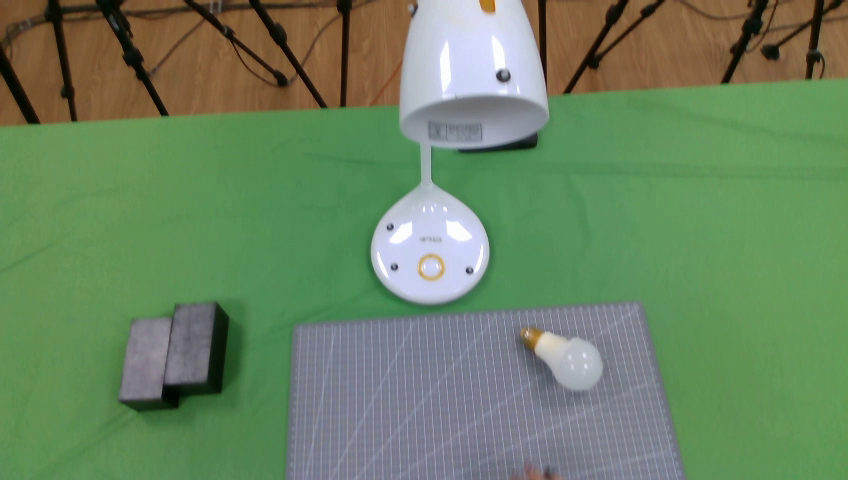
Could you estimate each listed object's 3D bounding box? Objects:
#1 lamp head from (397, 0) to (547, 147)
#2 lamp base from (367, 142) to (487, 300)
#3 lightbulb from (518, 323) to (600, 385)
[{"bbox_3d":[0.032,-0.140,0.461,0.112,0.113,0.122,-4,76,-1],"label":"lamp head"},{"bbox_3d":[0.000,-0.040,0.752,0.161,0.182,0.177,-8,59,-3],"label":"lamp base"},{"bbox_3d":[0.160,0.132,0.729,0.106,0.060,0.059,29,65,33],"label":"lightbulb"}]
